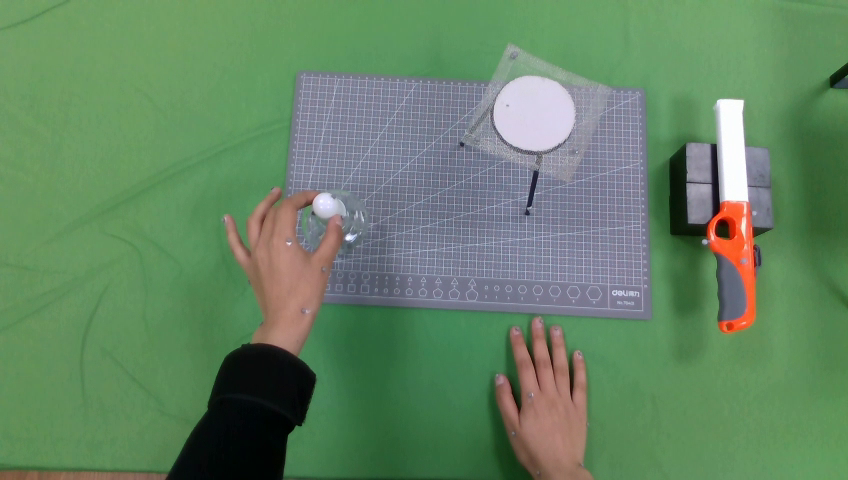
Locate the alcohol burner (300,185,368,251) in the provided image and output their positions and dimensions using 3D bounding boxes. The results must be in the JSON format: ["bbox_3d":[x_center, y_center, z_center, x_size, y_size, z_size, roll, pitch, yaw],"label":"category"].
[{"bbox_3d":[-0.103,-0.029,0.682,0.078,0.119,0.077,0,78,-2],"label":"alcohol burner"}]

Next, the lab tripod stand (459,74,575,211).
[{"bbox_3d":[0.115,-0.122,0.697,0.148,0.132,0.147,0,75,-1],"label":"lab tripod stand"}]

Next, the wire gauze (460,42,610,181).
[{"bbox_3d":[0.118,-0.135,0.631,0.121,0.011,0.124,25,77,4],"label":"wire gauze"}]

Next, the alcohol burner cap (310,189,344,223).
[{"bbox_3d":[-0.105,-0.038,0.642,0.034,0.048,0.033,0,80,0],"label":"alcohol burner cap"}]

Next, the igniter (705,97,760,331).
[{"bbox_3d":[0.350,-0.034,0.692,0.057,0.025,0.275,3,77,5],"label":"igniter"}]
